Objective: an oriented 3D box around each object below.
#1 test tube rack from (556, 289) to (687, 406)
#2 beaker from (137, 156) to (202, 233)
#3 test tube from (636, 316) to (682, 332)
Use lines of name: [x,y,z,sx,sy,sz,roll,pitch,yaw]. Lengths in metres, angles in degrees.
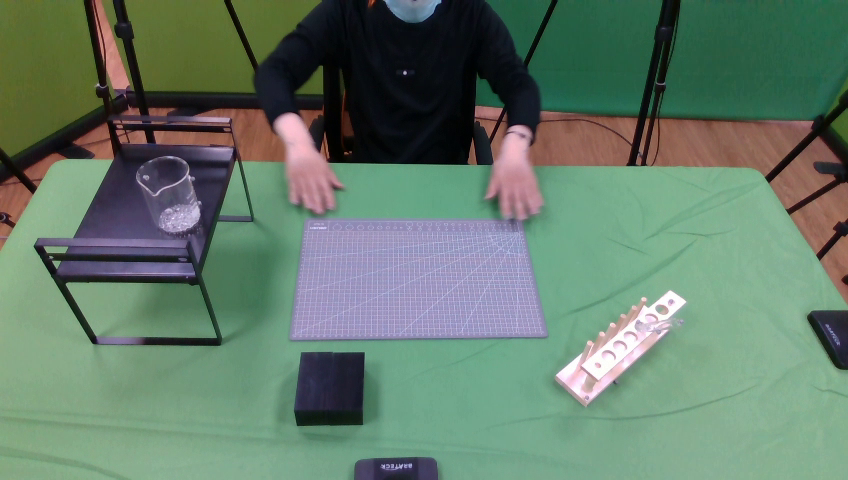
test tube rack: [0.332,0.165,1.014,0.242,0.085,0.066,-31,55,-28]
beaker: [-0.385,-0.065,0.925,0.074,0.101,0.083,2,47,-1]
test tube: [0.358,0.133,0.941,0.017,0.151,0.017,1,77,-4]
